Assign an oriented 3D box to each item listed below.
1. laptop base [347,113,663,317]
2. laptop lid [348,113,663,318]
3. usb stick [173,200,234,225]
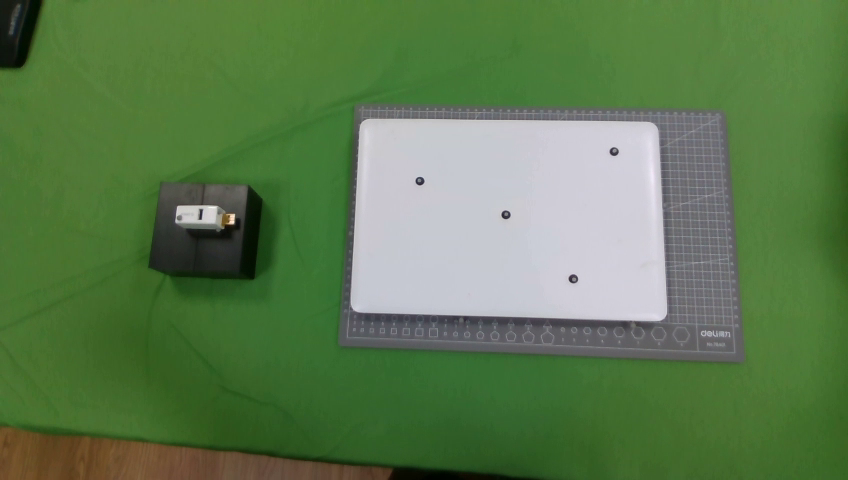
[{"bbox_3d":[0.093,-0.032,0.704,0.354,0.023,0.234,1,81,2],"label":"laptop base"},{"bbox_3d":[0.092,-0.032,0.692,0.356,0.013,0.240,3,80,2],"label":"laptop lid"},{"bbox_3d":[-0.238,-0.030,0.658,0.059,0.027,0.021,2,75,-1],"label":"usb stick"}]
